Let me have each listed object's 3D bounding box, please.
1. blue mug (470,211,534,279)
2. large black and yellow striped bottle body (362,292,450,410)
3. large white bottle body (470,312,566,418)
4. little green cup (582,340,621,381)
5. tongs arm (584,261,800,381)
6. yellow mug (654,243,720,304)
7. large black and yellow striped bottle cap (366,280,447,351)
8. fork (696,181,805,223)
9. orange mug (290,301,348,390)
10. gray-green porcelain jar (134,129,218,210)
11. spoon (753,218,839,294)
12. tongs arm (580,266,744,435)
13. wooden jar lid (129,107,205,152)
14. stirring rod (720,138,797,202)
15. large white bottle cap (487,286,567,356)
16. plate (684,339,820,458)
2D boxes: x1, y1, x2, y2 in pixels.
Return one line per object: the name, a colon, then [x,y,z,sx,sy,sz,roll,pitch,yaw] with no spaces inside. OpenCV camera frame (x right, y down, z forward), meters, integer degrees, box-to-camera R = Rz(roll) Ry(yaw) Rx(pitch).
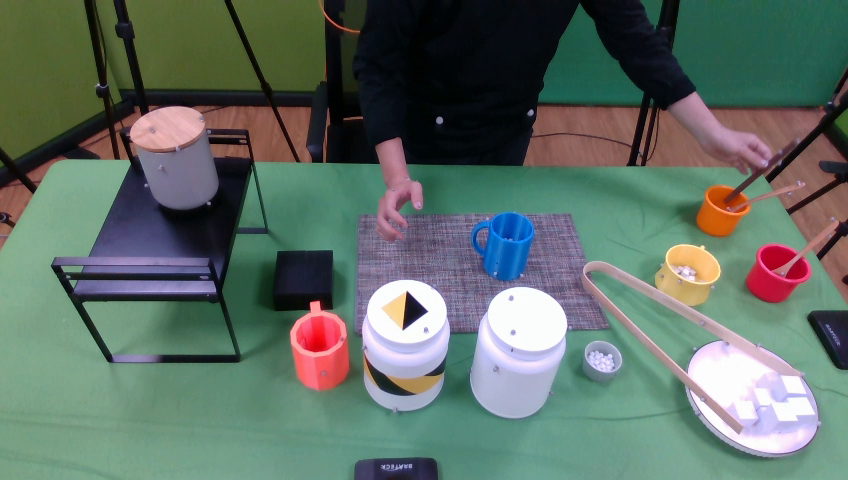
blue mug: [0.141,0.005,1.140,0.116,0.106,0.082,18,48,13]
large black and yellow striped bottle body: [-0.029,0.163,0.928,0.131,0.185,0.130,2,47,-2]
large white bottle body: [0.143,0.173,0.930,0.131,0.185,0.130,2,46,-2]
little green cup: [0.295,0.204,1.015,0.061,0.039,0.061,2,45,-2]
tongs arm: [0.452,0.137,1.064,0.051,0.027,0.382,-34,50,-27]
yellow mug: [0.504,0.054,1.155,0.099,0.064,0.130,28,49,22]
large black and yellow striped bottle cap: [-0.025,0.106,0.865,0.115,0.019,0.114,2,46,-1]
fork: [0.659,-0.077,1.232,0.207,0.019,0.028,-26,36,34]
orange mug: [-0.170,0.162,0.976,0.083,0.101,0.125,-7,51,-11]
gray-green porcelain jar: [-0.388,-0.120,0.960,0.106,0.127,0.105,2,46,-2]
spoon: [0.700,0.031,1.138,0.194,0.022,0.041,-47,54,14]
tongs arm: [0.384,0.173,1.028,0.028,0.028,0.385,-25,46,-15]
wooden jar lid: [-0.385,-0.163,0.915,0.108,0.021,0.107,2,47,-2]
stirring rod: [0.669,-0.138,1.217,0.006,0.176,0.014,19,39,-29]
large white bottle cap: [0.147,0.114,0.869,0.115,0.018,0.114,3,46,-3]
plate: [0.523,0.256,0.982,0.208,0.039,0.206,2,46,-2]
